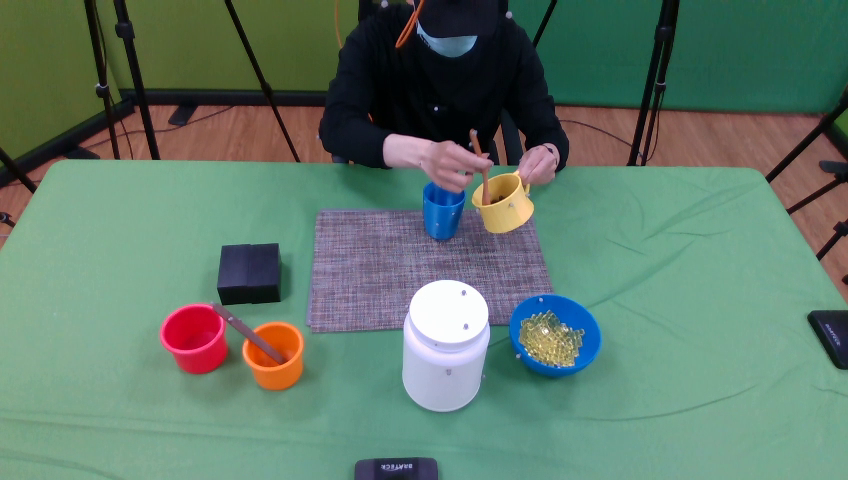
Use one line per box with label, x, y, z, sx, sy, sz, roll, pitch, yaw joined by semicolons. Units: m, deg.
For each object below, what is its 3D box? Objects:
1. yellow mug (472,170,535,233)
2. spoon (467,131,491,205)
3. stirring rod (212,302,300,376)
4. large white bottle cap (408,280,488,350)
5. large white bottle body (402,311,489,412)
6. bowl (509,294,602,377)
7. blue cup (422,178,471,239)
yellow mug;0.157;-0.080;1.125;0.130;0.064;0.099;-45;32;-24
spoon;0.104;-0.110;1.075;0.021;0.195;0.041;-21;35;-6
stirring rod;-0.261;0.156;0.948;0.177;0.006;0.014;45;45;-20
large white bottle cap;0.034;0.105;0.866;0.115;0.018;0.114;2;46;-1
large white bottle body;0.031;0.163;0.928;0.131;0.185;0.130;2;46;-2
bowl;0.211;0.172;1.007;0.151;0.077;0.150;2;46;-2
blue cup;0.036;-0.056;1.192;0.093;0.101;0.092;3;45;-3
